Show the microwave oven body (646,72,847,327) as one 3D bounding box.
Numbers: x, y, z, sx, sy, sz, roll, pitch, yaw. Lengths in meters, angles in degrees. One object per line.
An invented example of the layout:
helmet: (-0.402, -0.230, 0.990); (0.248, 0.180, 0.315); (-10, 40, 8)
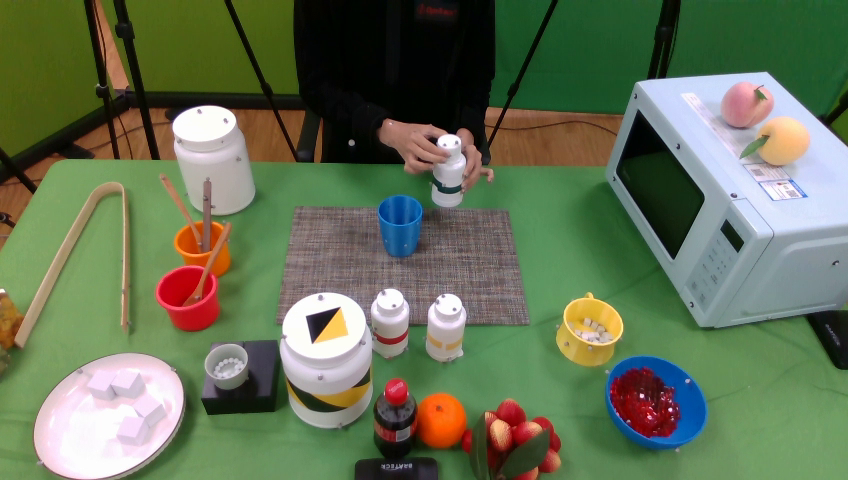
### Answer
microwave oven body: (0.607, -0.089, 1.164); (0.326, 0.261, 0.438); (-7, 46, -10)

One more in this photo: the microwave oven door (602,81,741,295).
microwave oven door: (0.456, -0.107, 1.162); (0.039, 0.245, 0.353); (-7, 47, -11)

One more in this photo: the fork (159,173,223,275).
fork: (-0.427, -0.029, 1.103); (0.028, 0.018, 0.207); (-31, 99, -31)

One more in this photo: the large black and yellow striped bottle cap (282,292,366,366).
large black and yellow striped bottle cap: (-0.138, 0.121, 0.841); (0.115, 0.019, 0.114); (3, 47, -3)

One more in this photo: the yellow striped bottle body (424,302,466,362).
yellow striped bottle body: (0.035, 0.143, 0.995); (0.063, 0.121, 0.062); (3, 46, -2)

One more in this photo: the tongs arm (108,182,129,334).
tongs arm: (-0.571, 0.019, 1.123); (0.051, 0.026, 0.382); (-11, 47, -11)

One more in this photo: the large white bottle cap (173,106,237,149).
large white bottle cap: (-0.411, -0.212, 1.138); (0.115, 0.018, 0.114); (2, 47, -2)

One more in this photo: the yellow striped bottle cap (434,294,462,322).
yellow striped bottle cap: (0.038, 0.107, 0.958); (0.044, 0.019, 0.044); (2, 45, -2)

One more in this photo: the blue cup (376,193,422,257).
blue cup: (-0.047, -0.022, 1.155); (0.093, 0.101, 0.092); (1, 47, -1)

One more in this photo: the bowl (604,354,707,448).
bowl: (0.346, 0.261, 0.937); (0.151, 0.077, 0.150); (2, 46, -2)

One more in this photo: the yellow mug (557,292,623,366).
yellow mug: (0.285, 0.145, 1.051); (0.100, 0.064, 0.130); (7, 45, 4)

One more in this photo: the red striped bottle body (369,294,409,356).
red striped bottle body: (-0.059, 0.134, 0.997); (0.063, 0.120, 0.062); (5, 47, -5)

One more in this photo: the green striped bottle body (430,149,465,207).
green striped bottle body: (0.044, -0.125, 1.157); (0.063, 0.120, 0.063); (1, 45, -1)

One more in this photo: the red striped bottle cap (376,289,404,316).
red striped bottle cap: (-0.054, 0.098, 0.958); (0.044, 0.018, 0.044); (0, 48, 1)

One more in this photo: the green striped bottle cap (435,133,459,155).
green striped bottle cap: (0.042, -0.176, 1.105); (0.044, 0.020, 0.044); (2, 45, -2)

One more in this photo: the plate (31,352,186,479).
plate: (-0.459, 0.262, 0.898); (0.209, 0.038, 0.208); (2, 46, -2)

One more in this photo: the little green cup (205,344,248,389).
little green cup: (-0.293, 0.191, 0.909); (0.061, 0.039, 0.061); (1, 47, -1)

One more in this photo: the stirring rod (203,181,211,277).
stirring rod: (-0.396, -0.021, 1.108); (0.014, 0.006, 0.176); (-1, 89, -2)

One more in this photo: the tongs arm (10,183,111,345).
tongs arm: (-0.658, 0.027, 1.109); (0.028, 0.028, 0.385); (-2, 45, 2)

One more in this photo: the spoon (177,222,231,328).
spoon: (-0.369, 0.059, 1.027); (0.041, 0.022, 0.193); (25, 94, 19)

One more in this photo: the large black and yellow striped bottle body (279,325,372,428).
large black and yellow striped bottle body: (-0.143, 0.181, 0.900); (0.131, 0.185, 0.130); (2, 46, -2)

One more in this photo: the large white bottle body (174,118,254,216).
large white bottle body: (-0.415, -0.154, 1.199); (0.131, 0.185, 0.130); (2, 46, -2)

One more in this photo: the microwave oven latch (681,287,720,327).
microwave oven latch: (0.494, 0.119, 1.087); (0.030, 0.029, 0.078); (-5, 46, -9)
